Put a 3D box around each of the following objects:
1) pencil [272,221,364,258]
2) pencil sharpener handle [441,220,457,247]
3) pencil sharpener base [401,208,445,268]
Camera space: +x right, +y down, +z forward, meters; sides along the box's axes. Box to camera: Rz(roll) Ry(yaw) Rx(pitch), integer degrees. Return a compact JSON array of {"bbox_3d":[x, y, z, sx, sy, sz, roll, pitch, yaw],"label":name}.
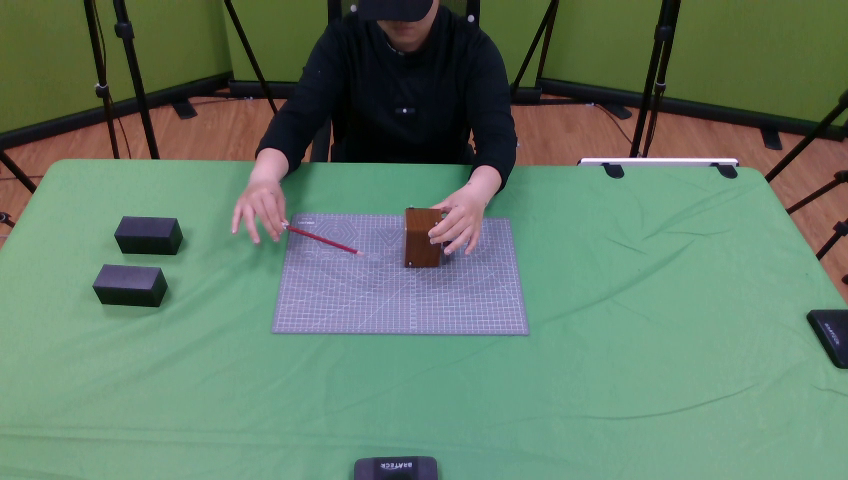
[{"bbox_3d":[-0.195,-0.001,1.106,0.193,0.012,0.012,20,47,15],"label":"pencil"},{"bbox_3d":[0.049,-0.011,1.133,0.031,0.068,0.036,0,46,-5],"label":"pencil sharpener handle"},{"bbox_3d":[-0.003,-0.003,1.137,0.077,0.107,0.061,0,45,-5],"label":"pencil sharpener base"}]
